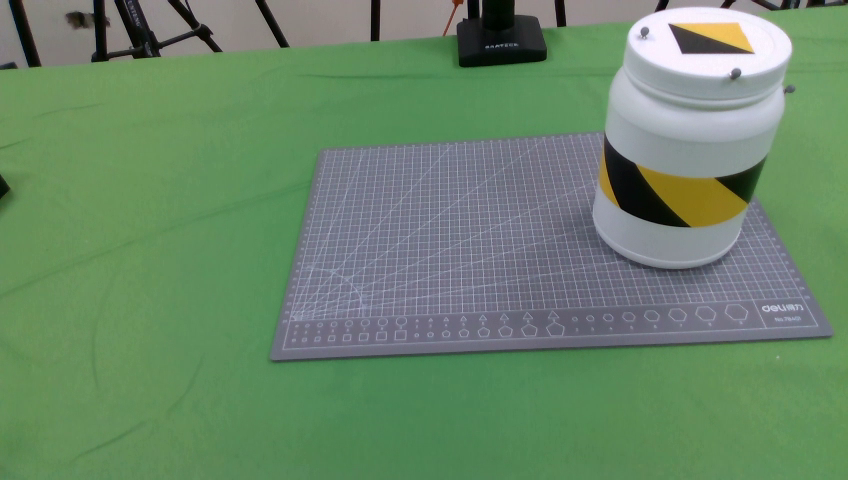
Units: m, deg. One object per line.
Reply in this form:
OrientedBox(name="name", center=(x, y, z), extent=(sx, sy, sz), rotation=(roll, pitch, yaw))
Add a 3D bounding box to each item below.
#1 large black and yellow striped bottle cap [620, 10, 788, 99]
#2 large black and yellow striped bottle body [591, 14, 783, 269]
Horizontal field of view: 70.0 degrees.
OrientedBox(name="large black and yellow striped bottle cap", center=(0.207, -0.142, 0.453), extent=(0.115, 0.019, 0.114), rotation=(-2, 43, 3))
OrientedBox(name="large black and yellow striped bottle body", center=(0.216, -0.080, 0.511), extent=(0.131, 0.186, 0.129), rotation=(-4, 44, 4))
